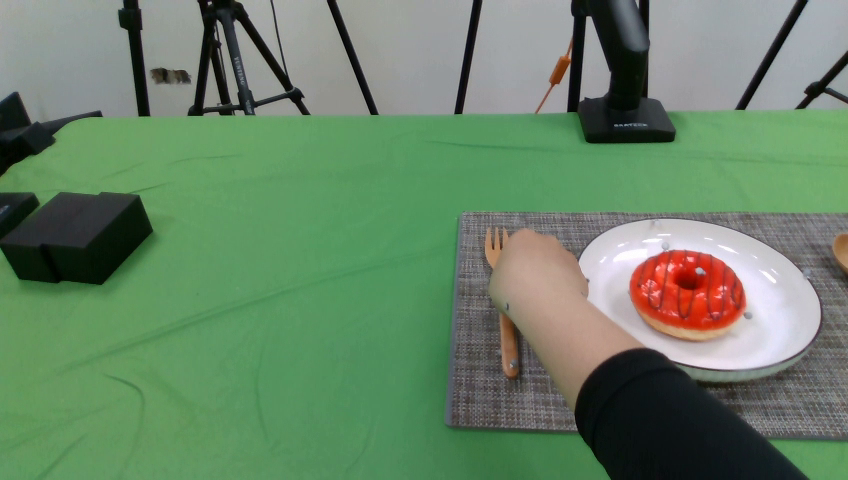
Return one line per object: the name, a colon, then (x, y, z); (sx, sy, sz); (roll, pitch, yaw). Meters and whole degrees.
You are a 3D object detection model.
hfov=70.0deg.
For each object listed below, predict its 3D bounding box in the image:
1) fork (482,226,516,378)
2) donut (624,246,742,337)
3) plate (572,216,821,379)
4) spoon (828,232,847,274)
fork: (0.074, 0.051, 0.586); (0.028, 0.019, 0.205); (5, 35, -2)
donut: (0.232, 0.045, 0.546); (0.099, 0.049, 0.098); (-3, 40, 3)
plate: (0.242, 0.051, 0.556); (0.209, 0.038, 0.207); (-2, 37, 2)
spoon: (0.414, 0.058, 0.546); (0.042, 0.022, 0.192); (16, 38, -4)
